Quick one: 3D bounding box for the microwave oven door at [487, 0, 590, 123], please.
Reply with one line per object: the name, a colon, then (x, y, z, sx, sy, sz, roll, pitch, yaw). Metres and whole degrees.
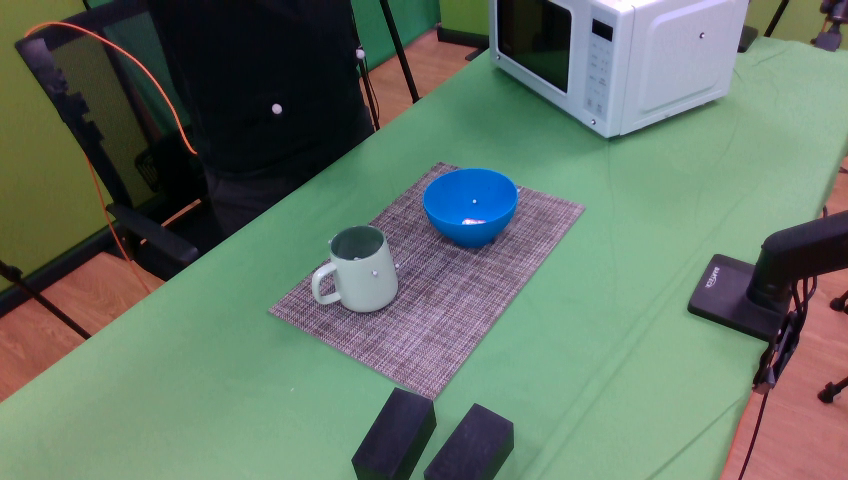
microwave oven door: (0.232, -0.420, 1.231, 0.039, 0.245, 0.352, -22, 43, -16)

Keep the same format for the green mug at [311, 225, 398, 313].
green mug: (-0.101, 0.050, 0.857, 0.126, 0.105, 0.091, -28, 45, -23)

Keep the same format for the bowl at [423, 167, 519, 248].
bowl: (0.075, -0.041, 0.959, 0.151, 0.077, 0.150, -4, 40, 4)

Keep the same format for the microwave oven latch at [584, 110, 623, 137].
microwave oven latch: (0.337, -0.222, 1.142, 0.030, 0.029, 0.078, -21, 42, -14)

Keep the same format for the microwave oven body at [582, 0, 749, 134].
microwave oven body: (0.382, -0.444, 1.246, 0.327, 0.261, 0.437, -22, 42, -16)
